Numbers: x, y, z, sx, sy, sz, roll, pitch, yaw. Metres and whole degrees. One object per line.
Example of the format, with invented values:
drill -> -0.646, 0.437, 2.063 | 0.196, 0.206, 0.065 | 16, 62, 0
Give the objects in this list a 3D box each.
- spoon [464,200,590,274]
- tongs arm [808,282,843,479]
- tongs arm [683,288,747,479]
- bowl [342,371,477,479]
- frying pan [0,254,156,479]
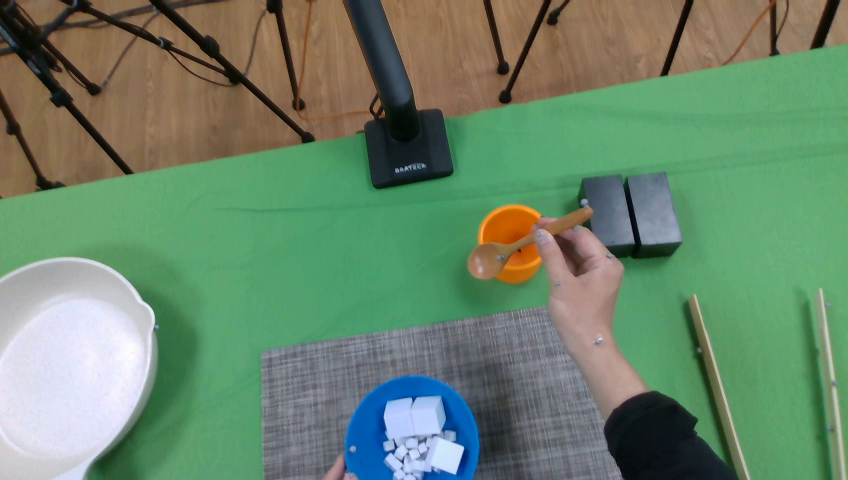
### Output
spoon -> 0.100, -0.002, 0.627 | 0.022, 0.193, 0.041 | -11, 80, -31
tongs arm -> 0.445, 0.233, 0.687 | 0.050, 0.027, 0.382 | 1, 70, 8
tongs arm -> 0.364, 0.239, 0.698 | 0.028, 0.028, 0.384 | -10, 68, 0
bowl -> -0.013, 0.233, 0.702 | 0.151, 0.077, 0.150 | -2, 69, 5
frying pan -> -0.439, 0.244, 0.728 | 0.307, 0.104, 0.482 | -25, 60, -3
